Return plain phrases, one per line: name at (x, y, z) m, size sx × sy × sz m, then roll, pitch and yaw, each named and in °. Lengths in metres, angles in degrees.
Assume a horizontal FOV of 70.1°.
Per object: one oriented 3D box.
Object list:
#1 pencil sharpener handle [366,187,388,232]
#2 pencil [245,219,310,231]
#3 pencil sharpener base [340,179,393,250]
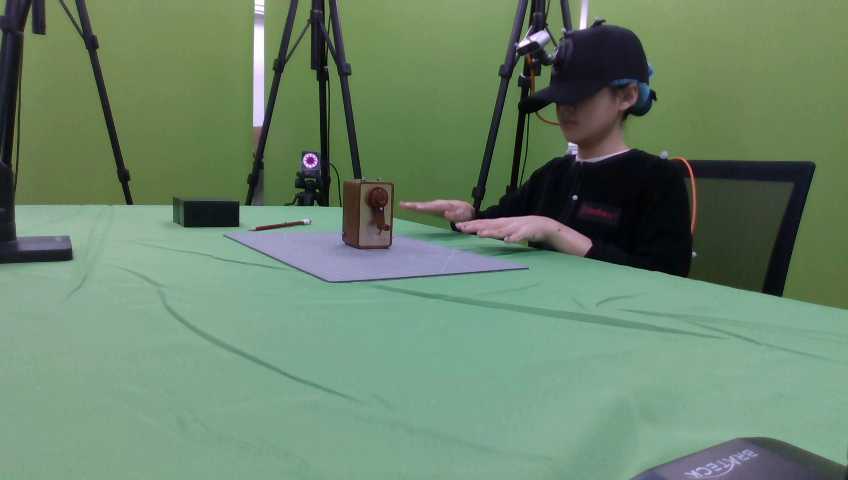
pencil sharpener handle at (-0.065, -0.046, 0.915) m, size 0.036 × 0.067 × 0.030 m, roll -8°, pitch 12°, yaw -27°
pencil at (-0.285, -0.029, 1.191) m, size 0.012 × 0.012 × 0.195 m, roll 7°, pitch 9°, yaw 25°
pencil sharpener base at (-0.091, -0.041, 0.960) m, size 0.061 × 0.107 × 0.076 m, roll -1°, pitch 9°, yaw -28°
